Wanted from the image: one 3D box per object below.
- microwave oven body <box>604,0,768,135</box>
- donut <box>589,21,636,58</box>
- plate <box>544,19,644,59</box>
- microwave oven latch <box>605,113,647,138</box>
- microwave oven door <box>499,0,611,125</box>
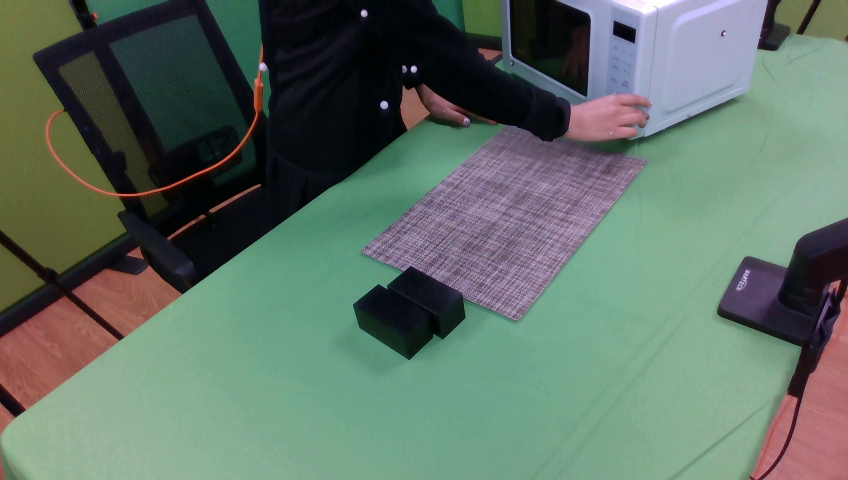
[{"bbox_3d":[0.411,-0.441,1.235,0.327,0.261,0.437,-25,42,-16],"label":"microwave oven body"},{"bbox_3d":[0.403,-0.429,1.295,0.099,0.048,0.098,1,54,-1],"label":"donut"},{"bbox_3d":[0.359,-0.427,1.291,0.209,0.038,0.208,0,34,0],"label":"plate"},{"bbox_3d":[0.375,-0.217,1.130,0.030,0.029,0.078,-24,42,-16],"label":"microwave oven latch"},{"bbox_3d":[0.262,-0.410,1.219,0.039,0.245,0.352,-24,42,-17],"label":"microwave oven door"}]
